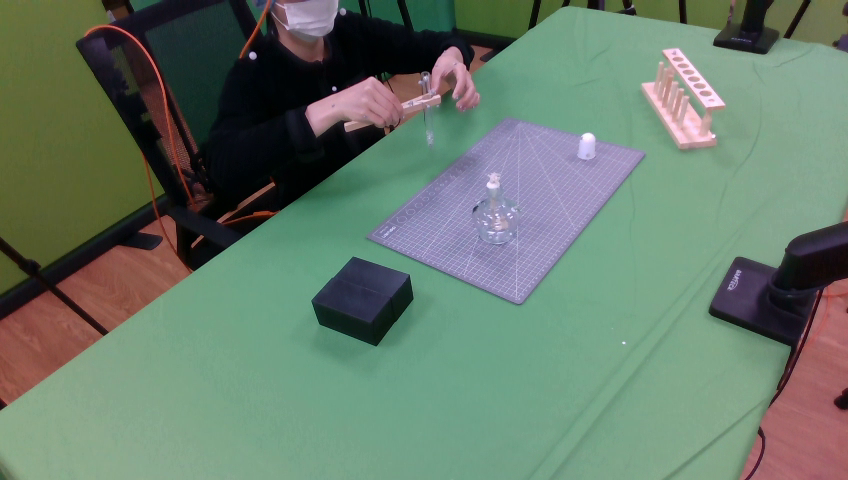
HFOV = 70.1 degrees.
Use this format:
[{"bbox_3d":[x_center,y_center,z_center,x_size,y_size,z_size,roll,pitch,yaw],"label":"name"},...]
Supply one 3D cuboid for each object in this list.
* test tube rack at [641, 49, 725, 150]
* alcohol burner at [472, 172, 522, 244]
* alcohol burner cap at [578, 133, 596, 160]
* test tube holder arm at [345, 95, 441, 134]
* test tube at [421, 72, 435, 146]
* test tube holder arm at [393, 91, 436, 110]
[{"bbox_3d":[0.495,-0.279,1.175,0.067,0.085,0.241,-5,41,3],"label":"test tube rack"},{"bbox_3d":[0.112,-0.053,0.942,0.078,0.119,0.077,-6,40,6],"label":"alcohol burner"},{"bbox_3d":[0.301,-0.174,1.111,0.034,0.048,0.033,-5,41,4],"label":"alcohol burner cap"},{"bbox_3d":[-0.051,-0.216,1.031,0.179,0.015,0.013,-24,44,-20],"label":"test tube holder arm"},{"bbox_3d":[0.008,-0.229,1.072,0.017,0.151,0.017,-3,47,3],"label":"test tube"},{"bbox_3d":[-0.016,-0.237,1.051,0.088,0.015,0.010,-29,46,-25],"label":"test tube holder arm"}]
